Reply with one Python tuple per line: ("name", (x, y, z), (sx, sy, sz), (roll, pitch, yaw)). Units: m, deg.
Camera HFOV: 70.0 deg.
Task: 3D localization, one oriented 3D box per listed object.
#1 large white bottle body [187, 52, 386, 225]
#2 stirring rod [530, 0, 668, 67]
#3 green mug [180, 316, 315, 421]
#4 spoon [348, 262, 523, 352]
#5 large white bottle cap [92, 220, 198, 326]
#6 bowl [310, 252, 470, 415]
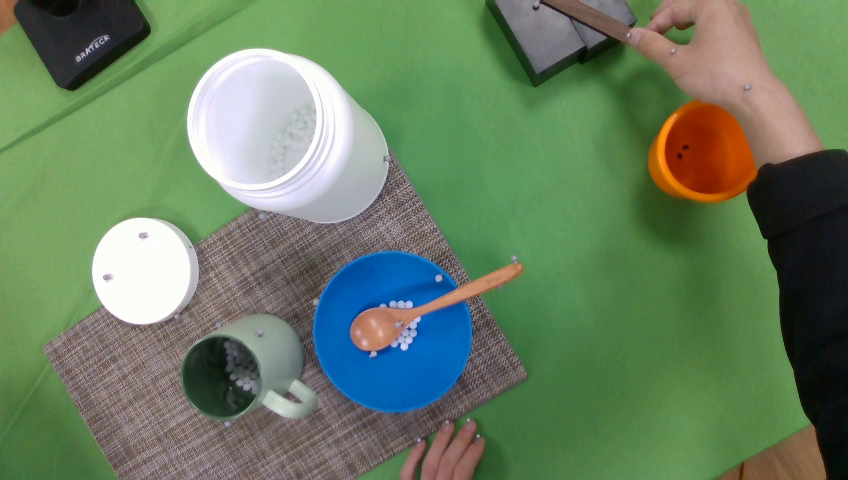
("large white bottle body", (-0.115, -0.084, 0.545), (0.130, 0.185, 0.130), (0, 87, 9))
("stirring rod", (0.141, -0.204, 0.552), (0.176, 0.006, 0.014), (30, 128, 5))
("green mug", (-0.163, 0.134, 0.596), (0.125, 0.105, 0.092), (32, 94, 5))
("spoon", (0.006, 0.063, 0.559), (0.193, 0.021, 0.041), (-25, 91, 30))
("large white bottle cap", (-0.301, 0.035, 0.653), (0.115, 0.018, 0.115), (0, 90, 7))
("bowl", (-0.027, 0.086, 0.592), (0.151, 0.077, 0.151), (0, 91, 7))
